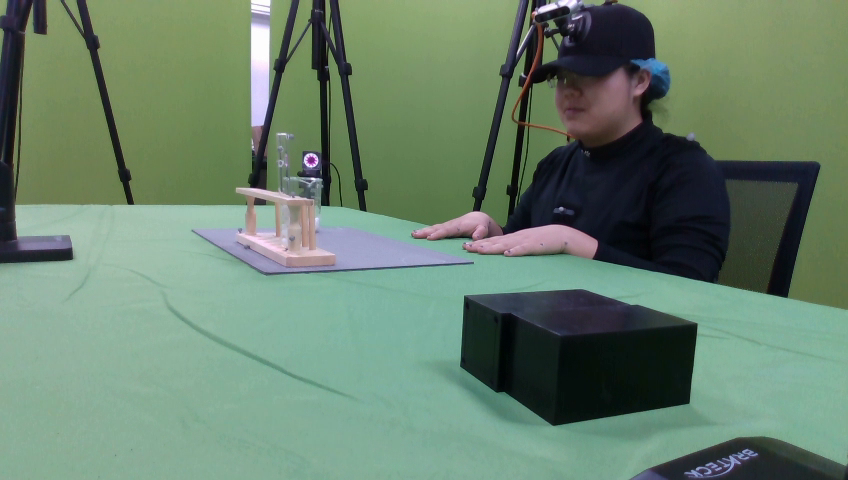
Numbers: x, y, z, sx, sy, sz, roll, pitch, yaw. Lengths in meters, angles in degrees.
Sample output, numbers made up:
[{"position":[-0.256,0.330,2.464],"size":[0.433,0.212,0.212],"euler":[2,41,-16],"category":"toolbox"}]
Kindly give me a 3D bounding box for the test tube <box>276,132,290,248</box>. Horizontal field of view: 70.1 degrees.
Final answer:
[{"position":[-0.180,-0.063,0.778],"size":[0.017,0.150,0.017],"euler":[0,9,0],"category":"test tube"}]

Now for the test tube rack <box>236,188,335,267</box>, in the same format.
[{"position":[-0.202,-0.024,0.855],"size":[0.067,0.085,0.241],"euler":[-2,9,-31],"category":"test tube rack"}]

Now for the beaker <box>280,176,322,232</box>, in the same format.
[{"position":[-0.224,-0.065,1.111],"size":[0.074,0.100,0.083],"euler":[-2,10,-30],"category":"beaker"}]
